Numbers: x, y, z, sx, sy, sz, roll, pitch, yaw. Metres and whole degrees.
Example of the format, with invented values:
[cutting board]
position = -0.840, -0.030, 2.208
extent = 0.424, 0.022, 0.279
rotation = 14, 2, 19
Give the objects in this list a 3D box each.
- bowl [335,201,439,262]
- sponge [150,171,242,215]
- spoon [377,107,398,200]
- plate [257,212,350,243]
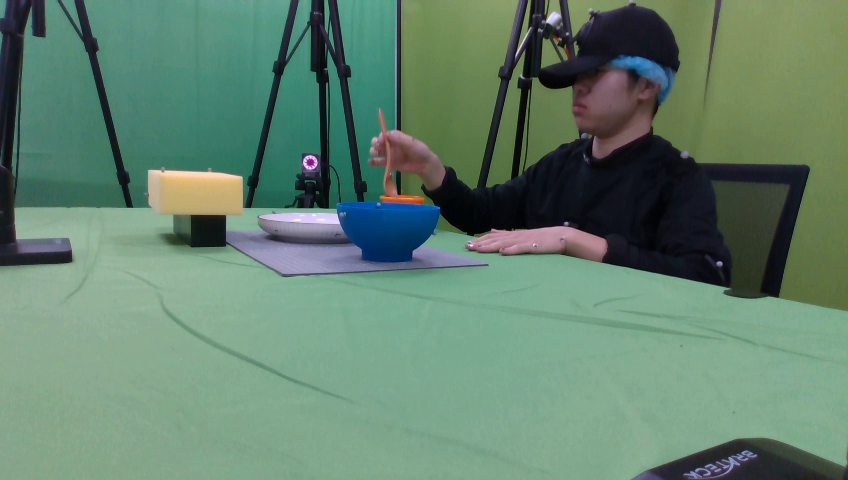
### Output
[bowl]
position = -0.054, -0.012, 0.871
extent = 0.151, 0.077, 0.151
rotation = 3, 8, 0
[sponge]
position = -0.379, -0.079, 0.994
extent = 0.119, 0.061, 0.206
rotation = -1, 8, -29
[spoon]
position = -0.075, -0.175, 1.218
extent = 0.021, 0.193, 0.042
rotation = -8, -5, 29
[plate]
position = -0.189, -0.023, 1.072
extent = 0.209, 0.038, 0.209
rotation = 3, 7, 0
